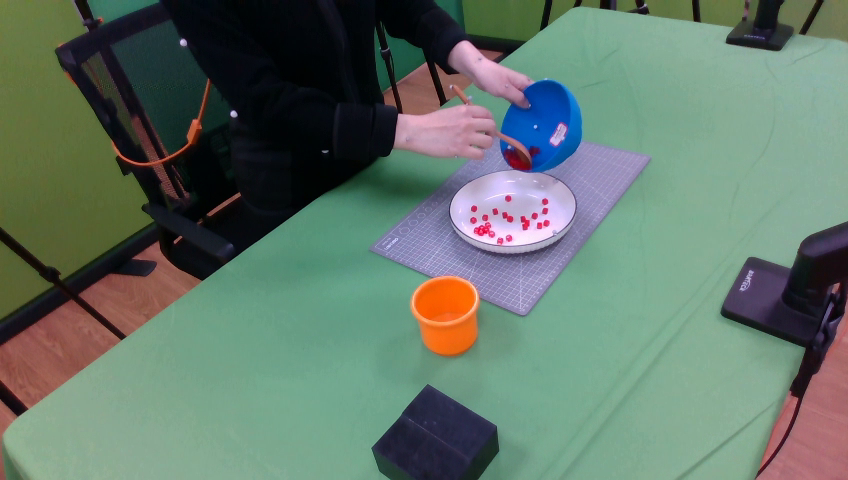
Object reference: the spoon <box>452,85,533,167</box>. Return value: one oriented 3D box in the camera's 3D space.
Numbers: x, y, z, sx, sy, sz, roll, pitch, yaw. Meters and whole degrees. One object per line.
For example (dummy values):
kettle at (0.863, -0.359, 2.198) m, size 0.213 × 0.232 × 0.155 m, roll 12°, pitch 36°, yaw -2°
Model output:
spoon at (0.108, -0.173, 0.932) m, size 0.021 × 0.195 × 0.041 m, roll -51°, pitch 31°, yaw 10°

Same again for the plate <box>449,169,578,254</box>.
plate at (0.146, -0.044, 0.993) m, size 0.209 × 0.038 × 0.208 m, roll -5°, pitch 40°, yaw 5°

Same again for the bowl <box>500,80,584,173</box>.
bowl at (0.205, -0.175, 0.983) m, size 0.077 × 0.151 × 0.150 m, roll 12°, pitch 26°, yaw -37°
